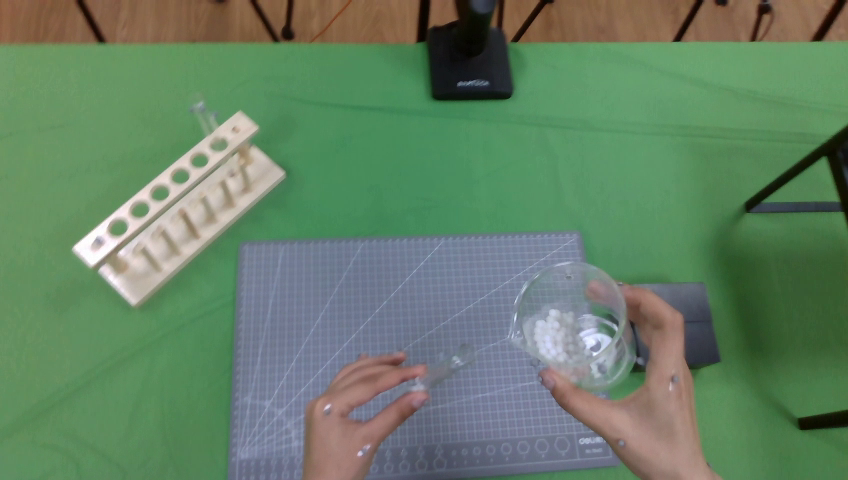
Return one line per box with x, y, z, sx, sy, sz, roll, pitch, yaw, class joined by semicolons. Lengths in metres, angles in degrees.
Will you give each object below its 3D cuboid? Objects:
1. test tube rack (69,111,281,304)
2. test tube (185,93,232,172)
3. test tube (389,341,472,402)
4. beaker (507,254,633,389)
-0.289;-0.040;0.735;0.066;0.085;0.242;40;70;10;test tube rack
-0.252;-0.122;0.717;0.017;0.151;0.017;1;66;-2;test tube
0.001;0.112;0.504;0.017;0.151;0.017;11;60;-19;test tube
0.111;0.067;0.445;0.084;0.101;0.073;-27;57;11;beaker
